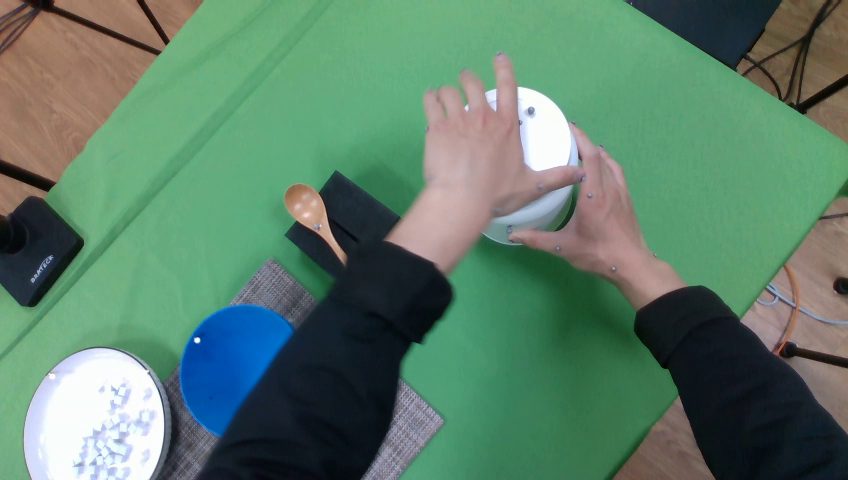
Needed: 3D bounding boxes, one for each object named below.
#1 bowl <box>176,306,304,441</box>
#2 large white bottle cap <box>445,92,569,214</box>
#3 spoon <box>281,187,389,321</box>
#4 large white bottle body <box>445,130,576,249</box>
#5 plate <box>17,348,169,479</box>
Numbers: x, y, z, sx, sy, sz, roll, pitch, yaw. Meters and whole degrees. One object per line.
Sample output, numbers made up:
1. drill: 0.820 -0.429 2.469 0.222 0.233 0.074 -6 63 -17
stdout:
1. bowl: -0.203 0.155 0.716 0.151 0.077 0.151 -2 81 11
2. large white bottle cap: 0.076 -0.081 0.563 0.114 0.018 0.114 -2 80 10
3. spoon: -0.103 0.018 0.706 0.041 0.022 0.193 -37 81 -3
4. large white bottle body: 0.093 -0.067 0.646 0.130 0.185 0.130 -2 80 10
5. plate: -0.410 0.241 0.762 0.209 0.038 0.208 -3 78 12
